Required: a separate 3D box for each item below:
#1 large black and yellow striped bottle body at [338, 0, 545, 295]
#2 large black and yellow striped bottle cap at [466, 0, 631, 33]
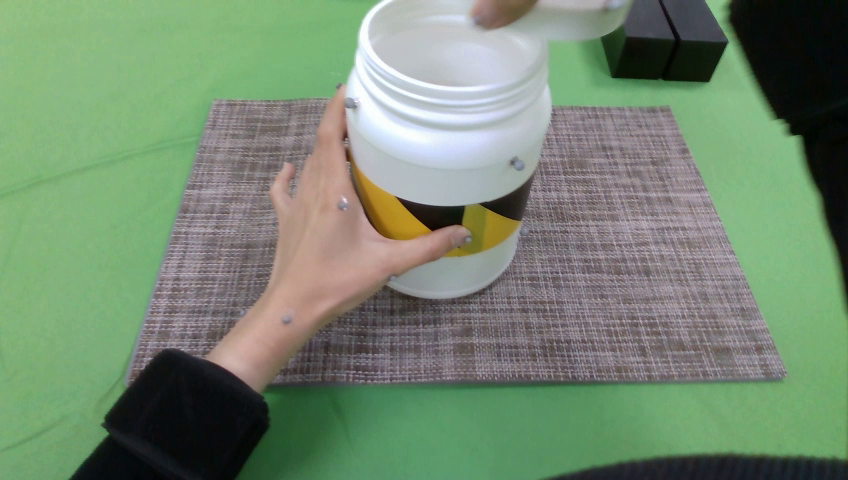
[{"bbox_3d":[0.009,-0.063,0.415,0.131,0.185,0.129,2,51,-2],"label":"large black and yellow striped bottle body"},{"bbox_3d":[0.055,-0.148,0.314,0.115,0.019,0.114,9,50,-10],"label":"large black and yellow striped bottle cap"}]
